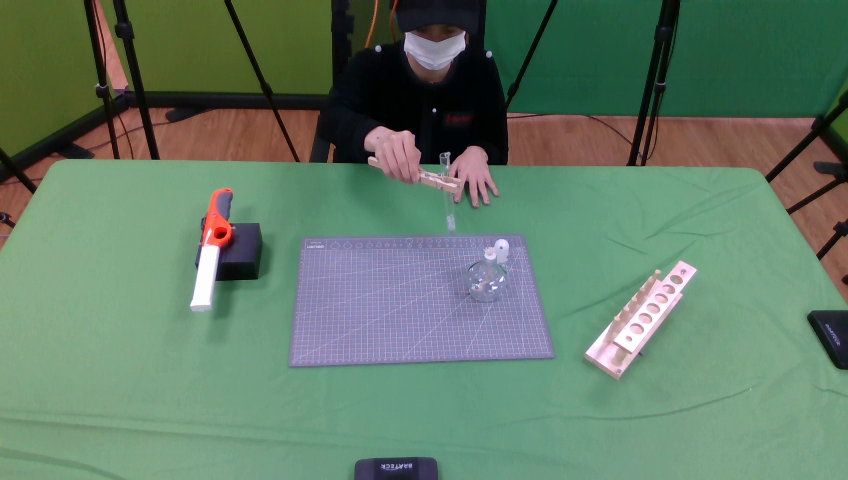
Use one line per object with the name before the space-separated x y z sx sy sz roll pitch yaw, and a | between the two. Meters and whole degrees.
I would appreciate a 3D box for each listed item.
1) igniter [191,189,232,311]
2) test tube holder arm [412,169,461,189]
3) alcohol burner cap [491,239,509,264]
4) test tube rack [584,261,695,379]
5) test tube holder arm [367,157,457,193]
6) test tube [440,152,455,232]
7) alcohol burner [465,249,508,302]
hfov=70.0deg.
igniter | -0.381 0.008 1.092 0.057 0.025 0.274 -1 50 -6
test tube holder arm | 0.019 -0.100 0.988 0.087 0.015 0.010 14 41 20
alcohol burner cap | 0.150 0.020 1.174 0.034 0.048 0.033 2 46 -2
test tube rack | 0.380 0.127 1.062 0.066 0.085 0.242 34 53 26
test tube holder arm | -0.023 -0.109 1.003 0.178 0.015 0.013 20 43 26
test tube | 0.039 -0.075 0.989 0.017 0.151 0.017 -4 37 4
alcohol burner | 0.114 0.057 1.085 0.078 0.120 0.077 2 48 -2
